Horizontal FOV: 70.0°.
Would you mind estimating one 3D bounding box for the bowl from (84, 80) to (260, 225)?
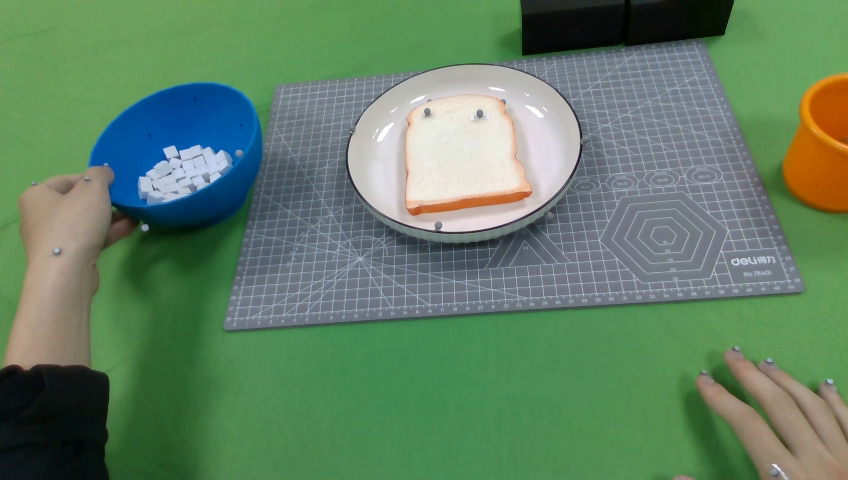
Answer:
[{"bbox_3d":[-0.213,-0.066,0.552,0.151,0.077,0.150,-4,55,6],"label":"bowl"}]

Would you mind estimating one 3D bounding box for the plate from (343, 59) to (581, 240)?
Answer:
[{"bbox_3d":[0.032,-0.081,0.545,0.209,0.038,0.207,-4,55,7],"label":"plate"}]

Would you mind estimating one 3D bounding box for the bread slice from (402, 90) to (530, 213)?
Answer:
[{"bbox_3d":[0.029,-0.084,0.550,0.107,0.018,0.133,-11,56,2],"label":"bread slice"}]

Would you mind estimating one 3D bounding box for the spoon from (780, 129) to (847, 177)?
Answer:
[{"bbox_3d":[0.360,-0.091,0.435,0.022,0.193,0.041,30,56,-24],"label":"spoon"}]
